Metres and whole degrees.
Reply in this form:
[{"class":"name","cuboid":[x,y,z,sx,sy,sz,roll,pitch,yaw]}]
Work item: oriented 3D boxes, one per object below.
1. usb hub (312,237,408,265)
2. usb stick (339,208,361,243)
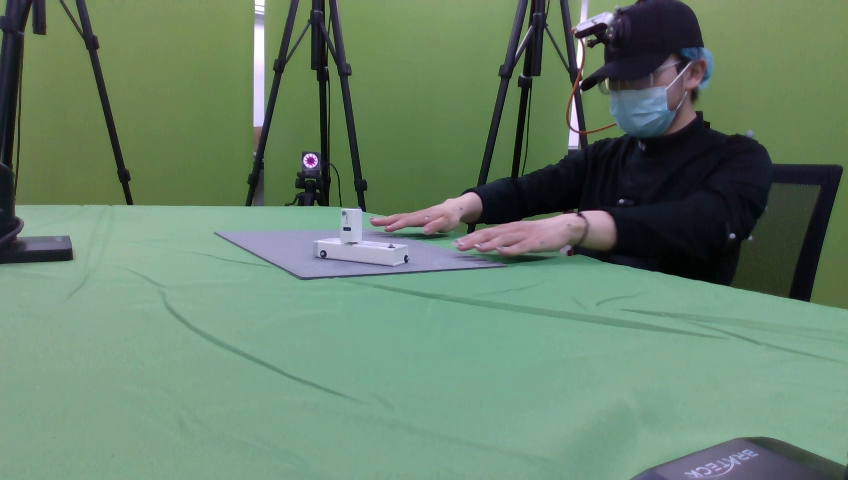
[{"class":"usb hub","cuboid":[-0.088,0.014,0.829,0.125,0.025,0.050,5,8,22]},{"class":"usb stick","cuboid":[-0.100,-0.013,0.815,0.021,0.059,0.027,5,10,20]}]
